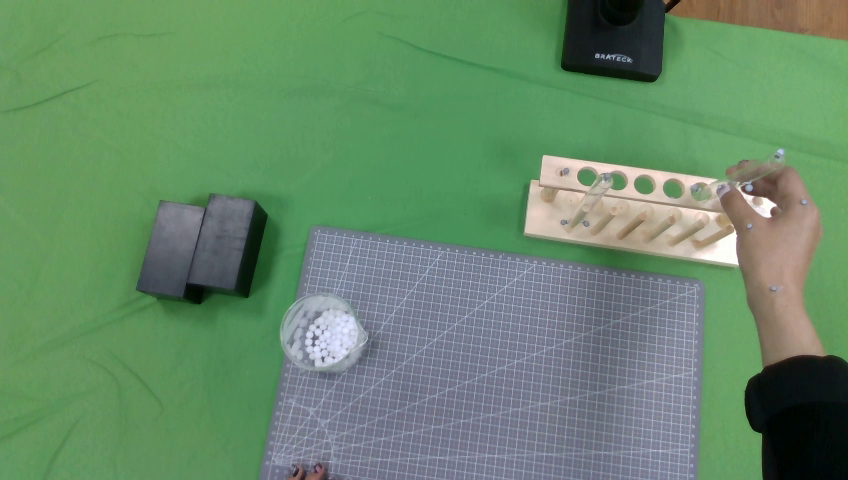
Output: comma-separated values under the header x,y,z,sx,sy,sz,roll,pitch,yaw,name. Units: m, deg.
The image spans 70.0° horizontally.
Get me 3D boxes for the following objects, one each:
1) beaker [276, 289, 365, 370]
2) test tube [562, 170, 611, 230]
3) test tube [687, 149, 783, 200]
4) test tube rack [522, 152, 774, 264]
x,y,z,sx,sy,sz,roll,pitch,yaw,name
-0.097,0.095,0.617,0.084,0.100,0.073,8,76,1,beaker
0.163,-0.038,0.616,0.017,0.151,0.017,0,75,1,test tube
0.288,-0.057,0.578,0.017,0.151,0.017,1,80,-4,test tube
0.237,-0.032,0.662,0.242,0.085,0.066,8,76,2,test tube rack
